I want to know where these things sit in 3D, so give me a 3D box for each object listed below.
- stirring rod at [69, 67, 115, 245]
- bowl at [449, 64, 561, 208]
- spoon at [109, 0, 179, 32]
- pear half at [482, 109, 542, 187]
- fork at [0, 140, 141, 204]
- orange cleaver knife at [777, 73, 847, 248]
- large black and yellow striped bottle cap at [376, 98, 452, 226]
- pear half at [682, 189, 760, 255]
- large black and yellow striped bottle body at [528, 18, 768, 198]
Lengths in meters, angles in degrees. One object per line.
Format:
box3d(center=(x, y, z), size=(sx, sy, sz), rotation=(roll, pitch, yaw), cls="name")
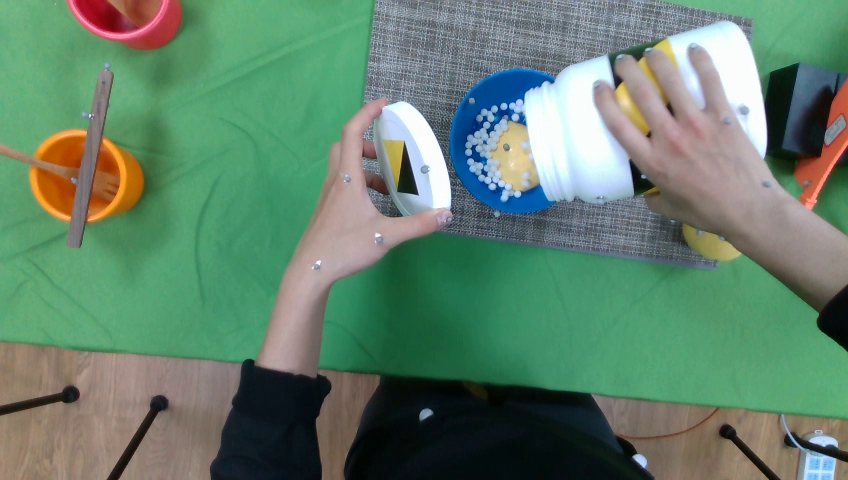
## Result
box3d(center=(-0.323, -0.081, 0.588), size=(0.014, 0.006, 0.176), rotation=(12, 93, -9), cls="stirring rod")
box3d(center=(0.097, -0.109, 0.666), size=(0.151, 0.076, 0.151), rotation=(0, 94, -6), cls="bowl")
box3d(center=(-0.332, -0.250, 0.581), size=(0.195, 0.021, 0.041), rotation=(11, 95, -50), cls="spoon")
box3d(center=(0.101, -0.102, 0.661), size=(0.070, 0.031, 0.088), rotation=(-19, 95, -7), cls="pear half")
box3d(center=(-0.376, -0.080, 0.584), size=(0.209, 0.018, 0.028), rotation=(26, 101, -51), cls="fork")
box3d(center=(0.460, -0.091, 0.709), size=(0.012, 0.076, 0.213), rotation=(10, 121, -1), cls="orange cleaver knife")
box3d(center=(-0.011, -0.068, 0.540), size=(0.019, 0.114, 0.115), rotation=(-22, 96, -20), cls="large black and yellow striped bottle cap")
box3d(center=(0.332, -0.019, 0.683), size=(0.056, 0.109, 0.076), rotation=(-12, 91, -4), cls="pear half")
box3d(center=(0.195, -0.111, 0.549), size=(0.183, 0.131, 0.131), rotation=(-11, 95, 17), cls="large black and yellow striped bottle body")
